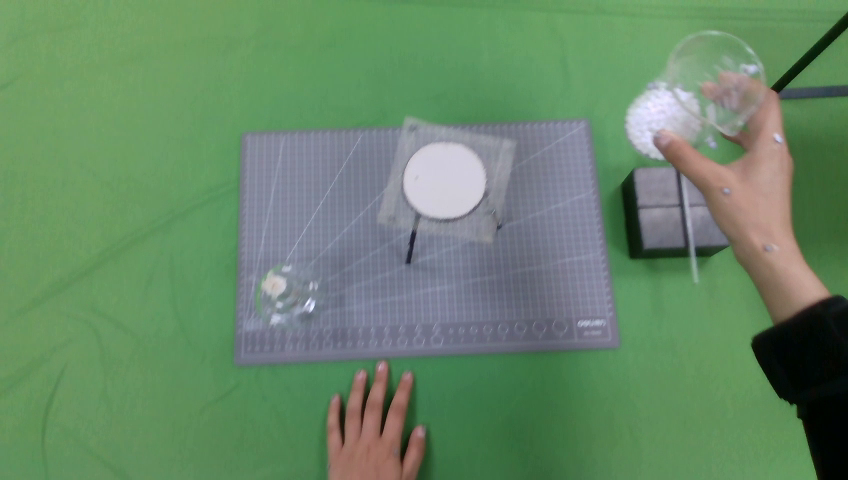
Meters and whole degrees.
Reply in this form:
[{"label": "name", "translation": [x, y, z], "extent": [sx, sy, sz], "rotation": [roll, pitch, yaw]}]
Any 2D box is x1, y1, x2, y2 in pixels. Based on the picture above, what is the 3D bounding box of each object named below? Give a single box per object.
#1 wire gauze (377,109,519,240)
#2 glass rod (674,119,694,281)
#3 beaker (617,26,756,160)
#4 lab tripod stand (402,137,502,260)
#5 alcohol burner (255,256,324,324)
[{"label": "wire gauze", "translation": [0.026, -0.068, 0.621], "extent": [0.121, 0.011, 0.124], "rotation": [14, 75, 4]}, {"label": "glass rod", "translation": [0.303, -0.050, 0.706], "extent": [0.008, 0.008, 0.198], "rotation": [1, 76, 0]}, {"label": "beaker", "translation": [0.207, -0.110, 0.491], "extent": [0.074, 0.100, 0.083], "rotation": [-15, 80, -6]}, {"label": "lab tripod stand", "translation": [0.020, -0.051, 0.686], "extent": [0.148, 0.132, 0.147], "rotation": [0, 75, 2]}, {"label": "alcohol burner", "translation": [-0.152, 0.053, 0.666], "extent": [0.078, 0.119, 0.077], "rotation": [0, 76, 0]}]
